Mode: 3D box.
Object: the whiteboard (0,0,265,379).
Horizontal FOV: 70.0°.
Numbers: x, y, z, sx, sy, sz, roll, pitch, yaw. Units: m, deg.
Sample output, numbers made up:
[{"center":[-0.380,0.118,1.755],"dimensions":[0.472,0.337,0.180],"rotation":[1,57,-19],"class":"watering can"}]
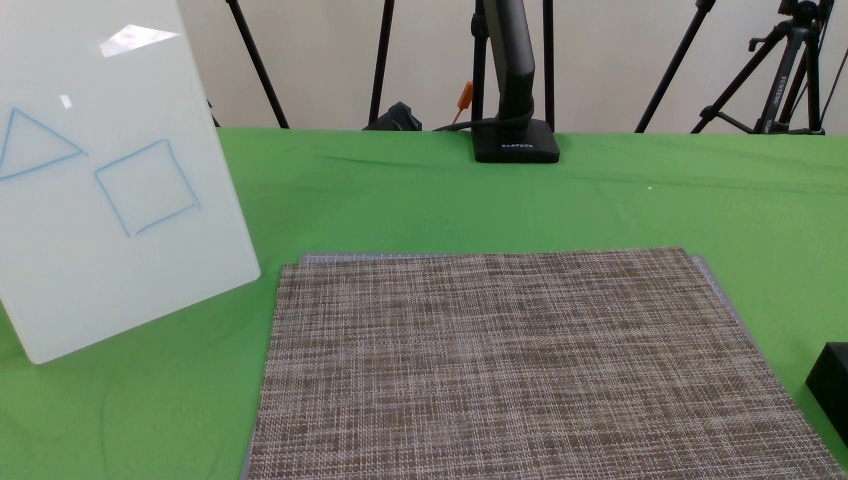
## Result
[{"center":[-0.319,-0.067,0.587],"dimensions":[0.217,0.307,0.142],"rotation":[-23,23,-29],"class":"whiteboard"}]
